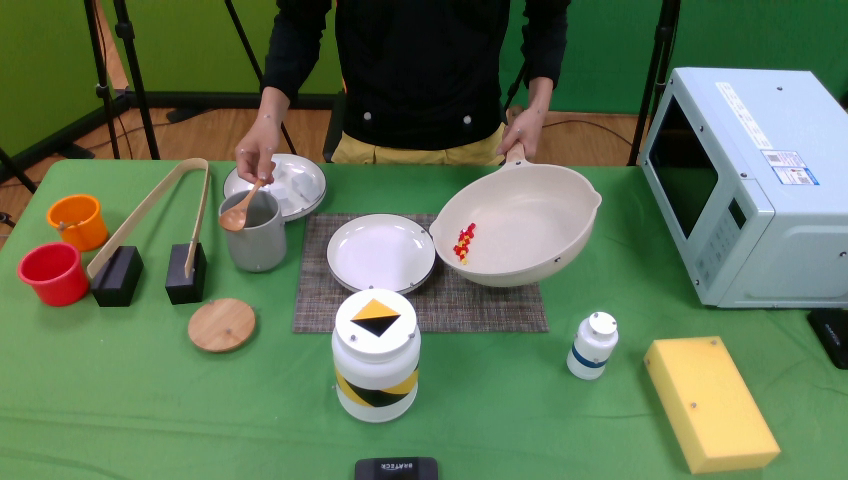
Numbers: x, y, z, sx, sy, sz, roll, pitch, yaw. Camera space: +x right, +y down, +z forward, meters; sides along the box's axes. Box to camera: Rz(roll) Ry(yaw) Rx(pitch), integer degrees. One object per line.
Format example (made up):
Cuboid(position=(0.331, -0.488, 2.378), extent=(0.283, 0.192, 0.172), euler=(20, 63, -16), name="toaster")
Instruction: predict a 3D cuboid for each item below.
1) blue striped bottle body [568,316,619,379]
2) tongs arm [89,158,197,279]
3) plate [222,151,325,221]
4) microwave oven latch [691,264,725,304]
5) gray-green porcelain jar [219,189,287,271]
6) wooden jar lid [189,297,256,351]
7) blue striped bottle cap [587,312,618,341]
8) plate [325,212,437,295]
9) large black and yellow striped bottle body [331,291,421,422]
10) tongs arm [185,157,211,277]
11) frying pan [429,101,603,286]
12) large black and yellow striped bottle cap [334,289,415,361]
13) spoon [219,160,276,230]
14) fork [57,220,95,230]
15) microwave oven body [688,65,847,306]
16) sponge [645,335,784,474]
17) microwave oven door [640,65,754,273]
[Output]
Cuboid(position=(0.277, 0.168, 0.984), extent=(0.063, 0.121, 0.062), euler=(2, 46, -2), name="blue striped bottle body")
Cuboid(position=(-0.530, -0.057, 1.164), extent=(0.028, 0.028, 0.385), euler=(1, 36, 8), name="tongs arm")
Cuboid(position=(-0.310, -0.106, 1.263), extent=(0.208, 0.039, 0.206), euler=(2, 47, -2), name="plate")
Cuboid(position=(0.521, 0.081, 1.116), extent=(0.030, 0.029, 0.078), euler=(0, 46, -3), name="microwave oven latch")
Cuboid(position=(-0.310, -0.014, 1.113), extent=(0.106, 0.127, 0.105), euler=(2, 46, -2), name="gray-green porcelain jar")
Cuboid(position=(-0.342, 0.145, 1.033), extent=(0.108, 0.021, 0.107), euler=(3, 45, -2), name="wooden jar lid")
Cuboid(position=(0.279, 0.134, 0.947), extent=(0.044, 0.021, 0.044), euler=(2, 45, -2), name="blue striped bottle cap")
Cuboid(position=(-0.080, 0.030, 1.143), extent=(0.209, 0.038, 0.208), euler=(3, 46, -3), name="plate")
Cuboid(position=(-0.071, 0.175, 0.911), extent=(0.131, 0.185, 0.130), euler=(2, 47, -2), name="large black and yellow striped bottle body")
Cuboid(position=(-0.446, -0.058, 1.168), extent=(0.051, 0.026, 0.382), euler=(-5, 37, -6), name="tongs arm")
Cuboid(position=(0.175, -0.105, 1.130), extent=(0.306, 0.103, 0.485), euler=(-8, 48, 20), name="frying pan")
Cuboid(position=(-0.069, 0.117, 0.850), extent=(0.115, 0.019, 0.114), euler=(2, 45, -2), name="large black and yellow striped bottle cap")
Cuboid(position=(-0.305, -0.083, 1.074), extent=(0.042, 0.022, 0.193), euler=(28, 50, -6), name="spoon")
Cuboid(position=(-0.624, -0.027, 1.086), extent=(0.028, 0.207, 0.018), euler=(-2, 91, -17), name="fork")
Cuboid(position=(0.669, -0.111, 1.176), extent=(0.326, 0.261, 0.439), euler=(0, 46, -3), name="microwave oven body")
Cuboid(position=(0.449, 0.253, 0.956), extent=(0.118, 0.061, 0.205), euler=(-4, 46, -7), name="sponge")
Cuboid(position=(0.523, -0.147, 1.193), extent=(0.039, 0.245, 0.353), euler=(0, 47, -3), name="microwave oven door")
